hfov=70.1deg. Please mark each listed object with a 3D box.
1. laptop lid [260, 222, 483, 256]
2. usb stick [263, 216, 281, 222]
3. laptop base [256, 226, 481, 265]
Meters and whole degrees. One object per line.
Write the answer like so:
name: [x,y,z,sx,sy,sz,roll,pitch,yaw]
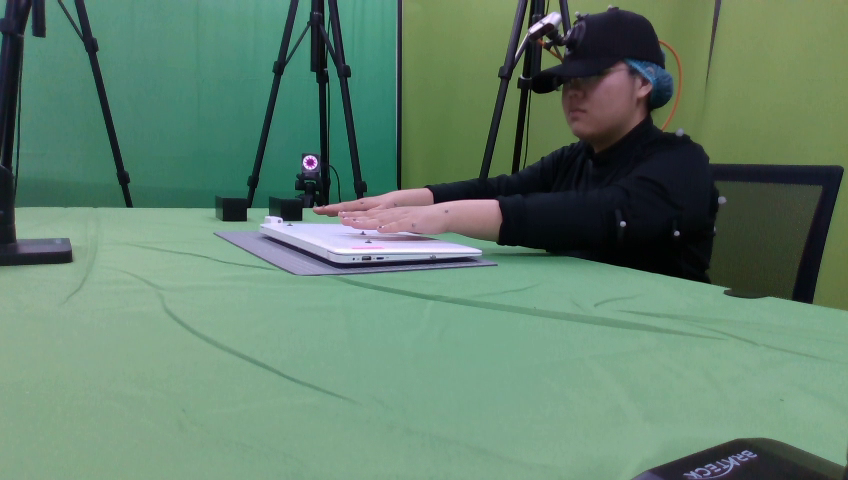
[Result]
laptop lid: [-0.099,-0.005,0.962,0.243,0.013,0.355,1,7,-30]
usb stick: [-0.269,-0.028,1.080,0.021,0.027,0.059,-2,11,-30]
laptop base: [-0.102,0.006,0.962,0.237,0.023,0.352,2,6,-32]
